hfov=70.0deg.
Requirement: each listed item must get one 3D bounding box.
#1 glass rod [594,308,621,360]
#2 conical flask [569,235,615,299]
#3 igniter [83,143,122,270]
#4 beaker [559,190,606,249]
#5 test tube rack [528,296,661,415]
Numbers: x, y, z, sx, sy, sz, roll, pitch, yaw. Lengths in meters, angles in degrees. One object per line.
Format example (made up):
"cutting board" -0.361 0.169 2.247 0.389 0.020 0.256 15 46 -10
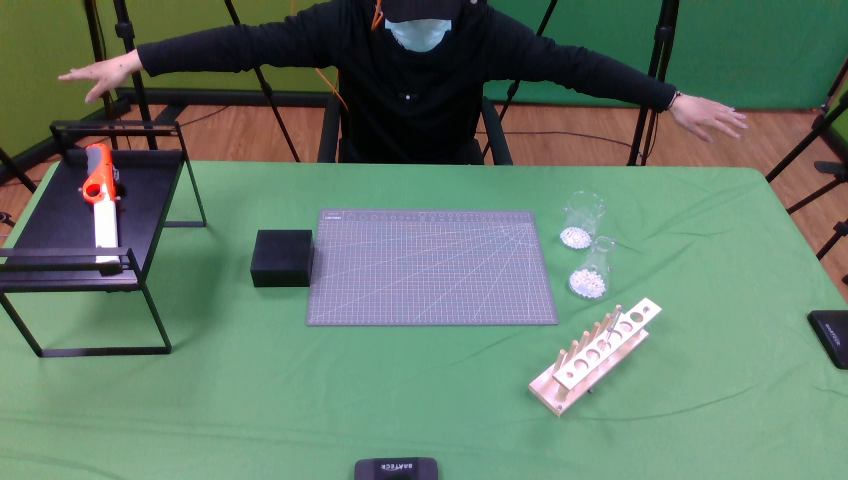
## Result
"glass rod" 0.278 0.156 0.934 0.008 0.201 0.008 -1 54 1
"conical flask" 0.314 0.046 1.108 0.075 0.122 0.075 2 47 -2
"igniter" -0.508 -0.063 0.962 0.057 0.025 0.274 -14 53 -18
"beaker" 0.313 -0.036 1.202 0.074 0.101 0.083 -3 47 -6
"test tube rack" 0.285 0.178 1.005 0.242 0.085 0.066 -31 55 -29
